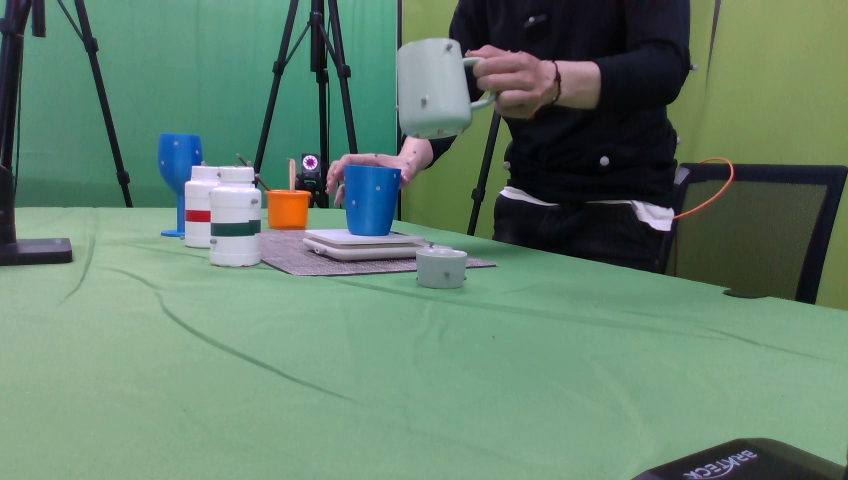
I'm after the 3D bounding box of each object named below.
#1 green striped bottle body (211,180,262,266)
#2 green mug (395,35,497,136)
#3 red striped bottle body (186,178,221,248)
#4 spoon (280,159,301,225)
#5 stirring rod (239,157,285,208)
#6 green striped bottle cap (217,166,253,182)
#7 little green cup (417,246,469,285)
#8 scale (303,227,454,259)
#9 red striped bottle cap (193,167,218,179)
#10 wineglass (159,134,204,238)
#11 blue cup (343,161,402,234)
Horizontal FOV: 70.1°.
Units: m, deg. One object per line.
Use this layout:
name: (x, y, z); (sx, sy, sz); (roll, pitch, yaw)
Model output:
green striped bottle body: (-0.243, -0.029, 0.784); (0.063, 0.119, 0.063); (2, 7, 0)
green mug: (0.027, -0.189, 0.745); (0.125, 0.105, 0.092); (-8, 0, 1)
red striped bottle body: (-0.331, -0.050, 0.927); (0.063, 0.119, 0.063); (2, 6, 0)
spoon: (-0.273, -0.102, 1.252); (0.042, 0.193, 0.021); (7, -38, -17)
stirring rod: (-0.309, -0.098, 1.209); (0.006, 0.177, 0.014); (-38, 29, -2)
green striped bottle cap: (-0.242, -0.085, 0.776); (0.044, 0.020, 0.044); (2, 8, 0)
little green cup: (0.021, 0.029, 0.701); (0.061, 0.038, 0.061); (1, 6, 0)
scale: (-0.066, 0.001, 0.906); (0.202, 0.031, 0.148); (-2, 8, -31)
red striped bottle cap: (-0.329, -0.103, 0.921); (0.044, 0.017, 0.044); (0, 8, 0)
wineglass: (-0.415, -0.093, 1.040); (0.074, 0.172, 0.073); (2, 7, 0)
blue cup: (-0.078, -0.062, 0.883); (0.093, 0.100, 0.092); (4, 8, 0)
